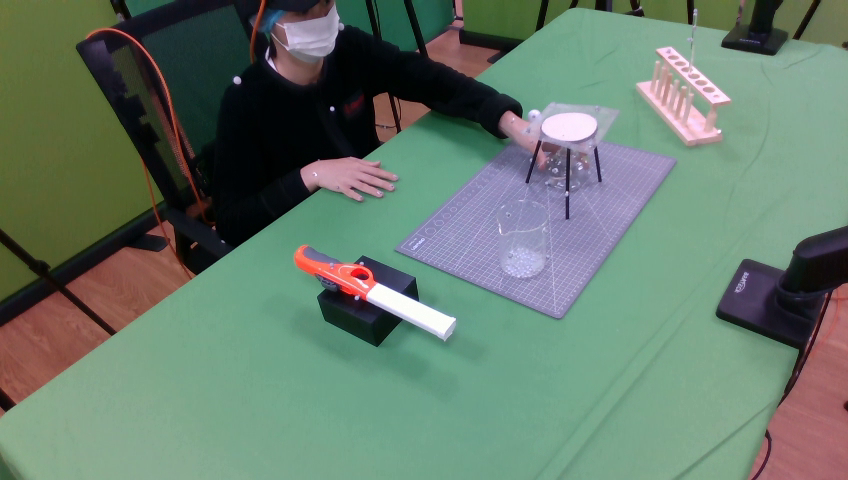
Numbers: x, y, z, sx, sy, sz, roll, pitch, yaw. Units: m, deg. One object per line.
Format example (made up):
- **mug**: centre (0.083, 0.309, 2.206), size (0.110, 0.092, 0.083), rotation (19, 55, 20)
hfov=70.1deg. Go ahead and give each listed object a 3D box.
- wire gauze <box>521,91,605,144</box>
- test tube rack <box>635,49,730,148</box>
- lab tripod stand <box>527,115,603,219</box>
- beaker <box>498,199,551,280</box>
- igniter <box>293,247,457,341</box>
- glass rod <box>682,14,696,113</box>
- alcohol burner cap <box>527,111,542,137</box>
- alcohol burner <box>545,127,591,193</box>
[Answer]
- **wire gauze**: centre (0.219, -0.191, 0.948), size (0.121, 0.011, 0.125), rotation (8, 49, 13)
- **test tube rack**: centre (0.497, -0.283, 1.185), size (0.067, 0.085, 0.240), rotation (-10, 40, -2)
- **lab tripod stand**: centre (0.235, -0.129, 1.002), size (0.148, 0.132, 0.147), rotation (-6, 40, 6)
- **beaker**: centre (0.144, 0.003, 0.884), size (0.073, 0.101, 0.084), rotation (28, 52, 36)
- **igniter**: centre (-0.077, 0.068, 0.831), size (0.274, 0.025, 0.057), rotation (22, 48, 27)
- **glass rod**: centre (0.495, -0.326, 1.132), size (0.008, 0.201, 0.008), rotation (-8, 42, 8)
- **alcohol burner cap**: centre (0.220, -0.233, 1.200), size (0.034, 0.048, 0.033), rotation (-5, 41, 5)
- **alcohol burner**: centre (0.245, -0.141, 1.029), size (0.078, 0.119, 0.077), rotation (-5, 42, 5)
